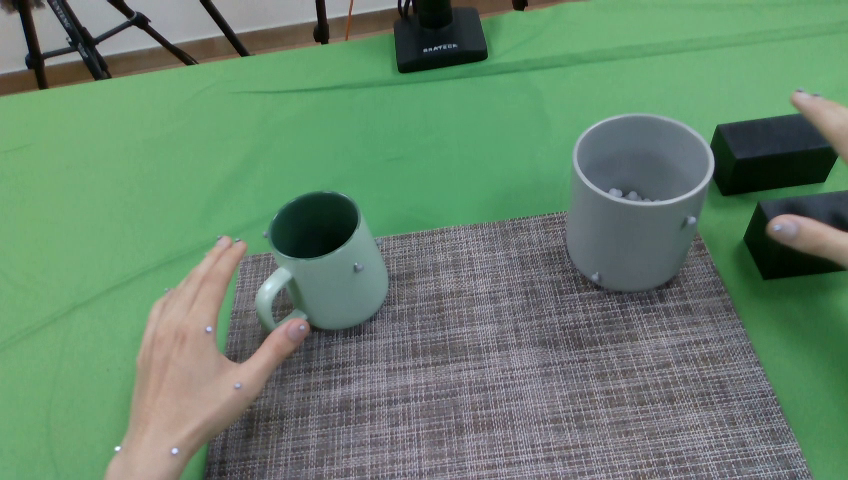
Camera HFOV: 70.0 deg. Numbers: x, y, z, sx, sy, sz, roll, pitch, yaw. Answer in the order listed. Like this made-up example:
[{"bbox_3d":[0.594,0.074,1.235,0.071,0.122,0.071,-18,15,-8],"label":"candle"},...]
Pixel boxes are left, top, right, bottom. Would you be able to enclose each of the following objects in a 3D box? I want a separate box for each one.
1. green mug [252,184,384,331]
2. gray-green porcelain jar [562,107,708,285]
[{"bbox_3d":[-0.097,0.026,0.528,0.092,0.106,0.125,26,59,27],"label":"green mug"},{"bbox_3d":[0.173,-0.031,0.517,0.106,0.128,0.105,-4,51,6],"label":"gray-green porcelain jar"}]
